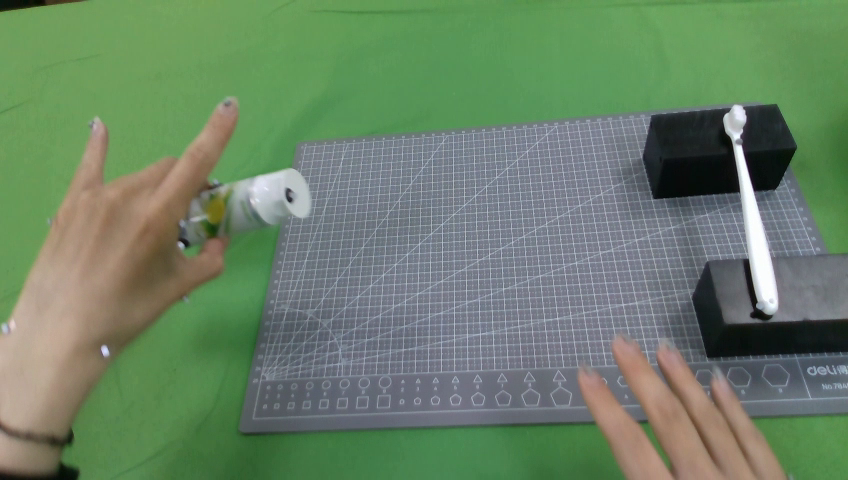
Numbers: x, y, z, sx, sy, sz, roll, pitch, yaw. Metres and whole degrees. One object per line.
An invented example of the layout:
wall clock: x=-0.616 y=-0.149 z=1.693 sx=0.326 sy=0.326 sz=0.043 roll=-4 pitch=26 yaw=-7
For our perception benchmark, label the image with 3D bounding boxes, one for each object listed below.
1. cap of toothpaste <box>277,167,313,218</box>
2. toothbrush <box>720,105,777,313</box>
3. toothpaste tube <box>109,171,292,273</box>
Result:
cap of toothpaste: x=-0.089 y=-0.032 z=0.412 sx=0.011 sy=0.038 sz=0.037 roll=-12 pitch=52 yaw=17
toothbrush: x=0.233 y=-0.030 z=0.435 sx=0.014 sy=0.017 sz=0.180 roll=10 pitch=57 yaw=-2
toothpaste tube: x=-0.162 y=-0.019 z=0.437 sx=0.165 sy=0.035 sz=0.055 roll=-12 pitch=74 yaw=17
